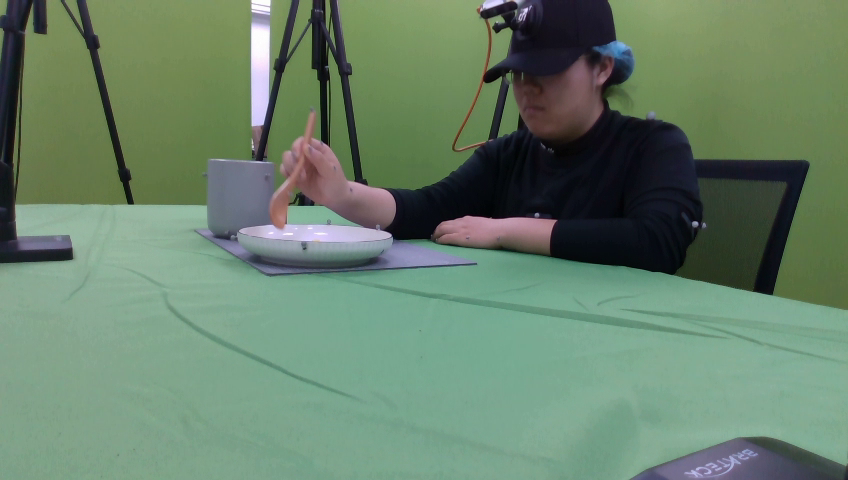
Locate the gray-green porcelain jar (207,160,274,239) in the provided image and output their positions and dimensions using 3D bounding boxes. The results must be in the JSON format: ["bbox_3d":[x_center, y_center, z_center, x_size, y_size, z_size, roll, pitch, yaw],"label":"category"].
[{"bbox_3d":[-0.304,-0.068,1.003,0.106,0.126,0.106,3,7,0],"label":"gray-green porcelain jar"}]

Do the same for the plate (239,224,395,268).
[{"bbox_3d":[-0.144,0.007,0.823,0.208,0.039,0.207,3,7,0],"label":"plate"}]

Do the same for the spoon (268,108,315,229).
[{"bbox_3d":[-0.182,-0.104,0.854,0.021,0.193,0.042,8,-22,24],"label":"spoon"}]
